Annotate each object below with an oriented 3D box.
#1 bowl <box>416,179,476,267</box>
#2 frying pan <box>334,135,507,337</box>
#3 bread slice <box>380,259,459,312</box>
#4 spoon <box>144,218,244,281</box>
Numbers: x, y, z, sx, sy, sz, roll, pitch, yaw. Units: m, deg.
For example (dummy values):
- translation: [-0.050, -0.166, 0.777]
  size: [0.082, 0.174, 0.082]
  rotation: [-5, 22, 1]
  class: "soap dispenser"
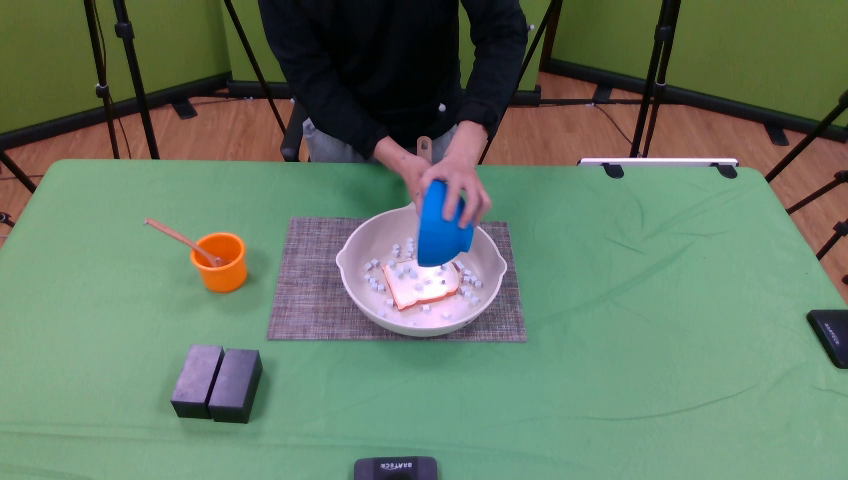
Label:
- translation: [0.041, -0.022, 1.012]
  size: [0.077, 0.152, 0.150]
  rotation: [10, 46, 9]
  class: "bowl"
- translation: [-0.004, -0.026, 1.160]
  size: [0.307, 0.103, 0.485]
  rotation: [4, 55, -2]
  class: "frying pan"
- translation: [-0.005, 0.075, 1.119]
  size: [0.134, 0.018, 0.106]
  rotation: [-16, 49, -16]
  class: "bread slice"
- translation: [-0.401, 0.015, 1.064]
  size: [0.195, 0.021, 0.041]
  rotation: [41, 35, -29]
  class: "spoon"
